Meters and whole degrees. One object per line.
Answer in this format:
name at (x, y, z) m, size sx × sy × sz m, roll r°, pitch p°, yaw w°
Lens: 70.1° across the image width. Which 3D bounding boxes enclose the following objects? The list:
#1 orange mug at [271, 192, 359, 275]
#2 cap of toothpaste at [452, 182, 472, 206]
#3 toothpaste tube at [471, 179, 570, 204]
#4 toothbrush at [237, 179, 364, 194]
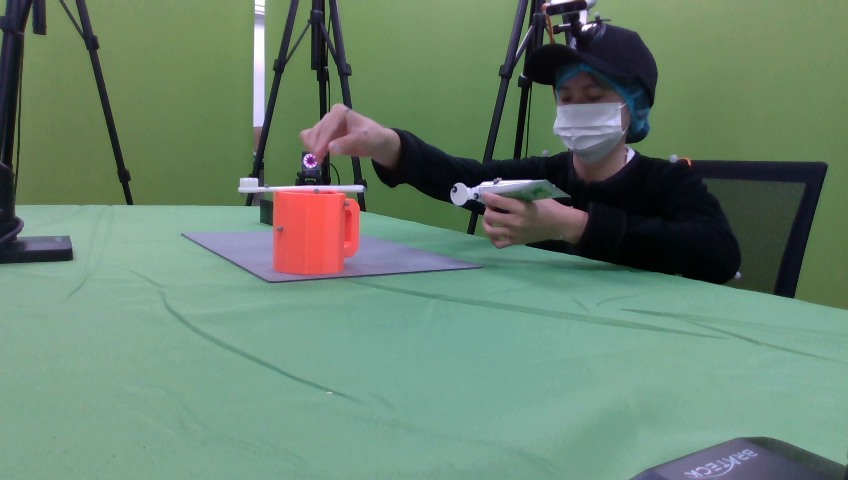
orange mug at (-0.131, -0.014, 0.754) m, size 0.083 × 0.101 × 0.127 m, roll 8°, pitch 13°, yaw 38°
cap of toothpaste at (0.057, -0.070, 0.920) m, size 0.037 × 0.037 × 0.011 m, roll 9°, pitch 12°, yaw 39°
toothpaste tube at (0.126, -0.071, 0.861) m, size 0.055 × 0.034 × 0.164 m, roll 21°, pitch -12°, yaw -36°
toothbrush at (-0.144, -0.064, 0.737) m, size 0.014 × 0.016 × 0.183 m, roll 7°, pitch 8°, yaw 43°
